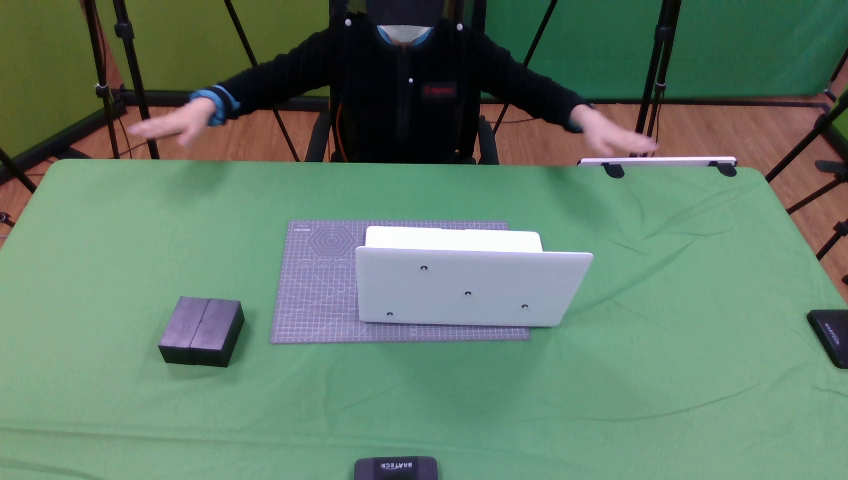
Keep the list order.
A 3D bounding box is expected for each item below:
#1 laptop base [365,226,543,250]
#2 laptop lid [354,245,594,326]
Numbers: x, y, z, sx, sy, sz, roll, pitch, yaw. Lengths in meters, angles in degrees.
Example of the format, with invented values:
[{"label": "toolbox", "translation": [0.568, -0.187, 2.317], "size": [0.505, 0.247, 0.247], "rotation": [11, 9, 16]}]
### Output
[{"label": "laptop base", "translation": [0.061, 0.063, 1.144], "size": [0.354, 0.023, 0.234], "rotation": [2, 43, -3]}, {"label": "laptop lid", "translation": [0.069, 0.080, 0.964], "size": [0.357, 0.243, 0.013], "rotation": [2, 55, -4]}]
